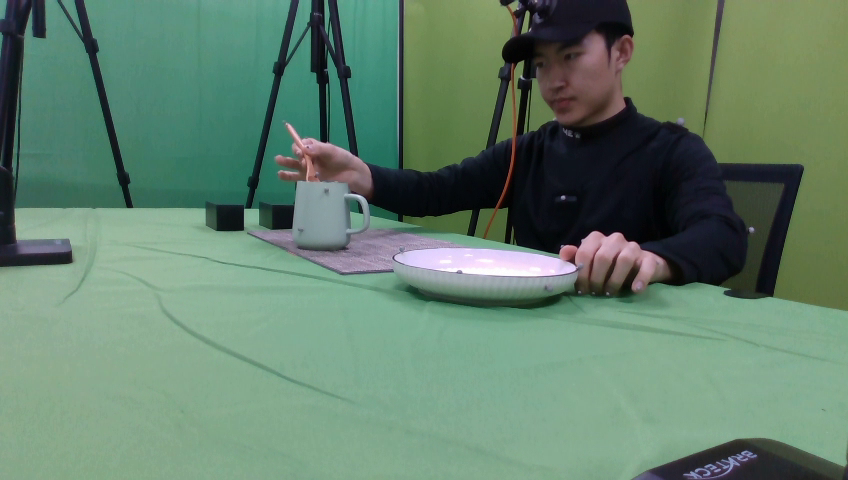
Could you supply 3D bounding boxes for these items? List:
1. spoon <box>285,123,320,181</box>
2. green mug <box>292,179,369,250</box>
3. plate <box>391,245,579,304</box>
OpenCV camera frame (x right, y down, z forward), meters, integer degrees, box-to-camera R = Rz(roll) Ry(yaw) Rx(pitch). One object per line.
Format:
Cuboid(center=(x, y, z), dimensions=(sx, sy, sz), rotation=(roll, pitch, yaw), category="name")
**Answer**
Cuboid(center=(-0.194, -0.134, 0.990), dimensions=(0.042, 0.021, 0.193), rotation=(20, 35, -47), category="spoon")
Cuboid(center=(-0.144, -0.040, 0.944), dimensions=(0.125, 0.105, 0.093), rotation=(4, 7, 16), category="green mug")
Cuboid(center=(0.066, 0.038, 0.683), dimensions=(0.209, 0.038, 0.209), rotation=(2, 7, 0), category="plate")
